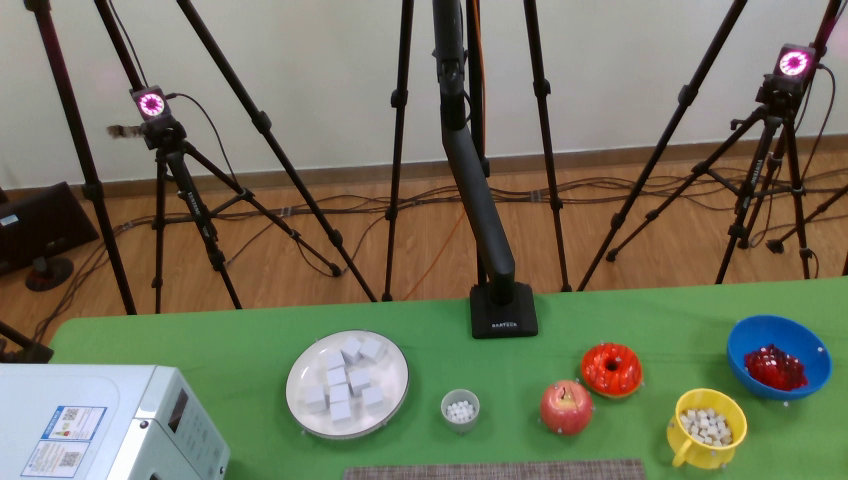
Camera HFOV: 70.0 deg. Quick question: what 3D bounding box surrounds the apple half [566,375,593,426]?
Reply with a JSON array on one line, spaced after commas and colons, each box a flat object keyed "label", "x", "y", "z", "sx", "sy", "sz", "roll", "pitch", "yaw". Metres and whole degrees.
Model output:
[{"label": "apple half", "x": 0.246, "y": 0.250, "z": 0.948, "sx": 0.033, "sy": 0.082, "sz": 0.080, "roll": -12, "pitch": 45, "yaw": 1}]

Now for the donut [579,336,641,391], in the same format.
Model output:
[{"label": "donut", "x": 0.309, "y": 0.206, "z": 1.007, "sx": 0.099, "sy": 0.049, "sz": 0.098, "roll": -4, "pitch": 47, "yaw": 5}]

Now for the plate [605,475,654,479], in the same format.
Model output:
[{"label": "plate", "x": 0.286, "y": 0.418, "z": 0.797, "sx": 0.209, "sy": 0.038, "sz": 0.207, "roll": -3, "pitch": 45, "yaw": 4}]

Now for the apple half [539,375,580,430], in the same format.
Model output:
[{"label": "apple half", "x": 0.207, "y": 0.257, "z": 0.947, "sx": 0.053, "sy": 0.075, "sz": 0.080, "roll": -12, "pitch": 49, "yaw": 1}]

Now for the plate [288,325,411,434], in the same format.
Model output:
[{"label": "plate", "x": -0.124, "y": 0.238, "z": 1.028, "sx": 0.207, "sy": 0.039, "sz": 0.205, "roll": -3, "pitch": 45, "yaw": 3}]

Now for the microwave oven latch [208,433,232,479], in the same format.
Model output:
[{"label": "microwave oven latch", "x": -0.317, "y": 0.336, "z": 0.925, "sx": 0.030, "sy": 0.030, "sz": 0.078, "roll": 1, "pitch": 46, "yaw": 7}]

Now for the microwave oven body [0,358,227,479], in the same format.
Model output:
[{"label": "microwave oven body", "x": -0.484, "y": 0.396, "z": 0.746, "sx": 0.326, "sy": 0.263, "sz": 0.437, "roll": -1, "pitch": 46, "yaw": 5}]

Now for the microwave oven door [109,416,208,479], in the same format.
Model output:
[{"label": "microwave oven door", "x": -0.342, "y": 0.420, "z": 0.699, "sx": 0.039, "sy": 0.246, "sz": 0.352, "roll": -1, "pitch": 45, "yaw": 6}]

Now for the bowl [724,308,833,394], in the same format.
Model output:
[{"label": "bowl", "x": 0.554, "y": 0.191, "z": 0.970, "sx": 0.151, "sy": 0.077, "sz": 0.150, "roll": -4, "pitch": 45, "yaw": 4}]

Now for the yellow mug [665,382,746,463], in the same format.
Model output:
[{"label": "yellow mug", "x": 0.410, "y": 0.282, "z": 0.904, "sx": 0.131, "sy": 0.064, "sz": 0.099, "roll": -35, "pitch": 52, "yaw": -24}]

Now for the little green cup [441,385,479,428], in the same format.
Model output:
[{"label": "little green cup", "x": 0.059, "y": 0.270, "z": 0.975, "sx": 0.061, "sy": 0.039, "sz": 0.061, "roll": -3, "pitch": 45, "yaw": 4}]
